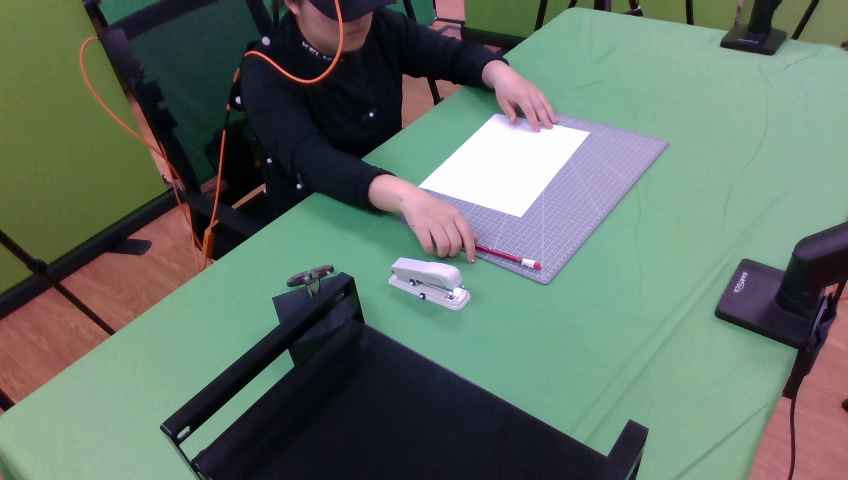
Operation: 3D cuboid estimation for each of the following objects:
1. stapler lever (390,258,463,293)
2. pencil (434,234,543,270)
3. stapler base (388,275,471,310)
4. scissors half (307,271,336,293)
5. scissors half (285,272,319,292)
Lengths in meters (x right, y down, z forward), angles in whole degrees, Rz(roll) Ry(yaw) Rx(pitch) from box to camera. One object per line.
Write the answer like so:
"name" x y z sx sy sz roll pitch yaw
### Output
"stapler lever" 0.003 0.047 0.881 0.117 0.040 0.027 17 43 29
"pencil" 0.097 0.015 0.949 0.192 0.012 0.012 17 46 29
"stapler base" 0.007 0.066 0.897 0.129 0.024 0.041 17 43 29
"scissors half" -0.151 0.061 0.872 0.040 0.013 0.175 -3 6 -4
"scissors half" -0.171 0.063 0.868 0.040 0.013 0.174 -10 7 -21
